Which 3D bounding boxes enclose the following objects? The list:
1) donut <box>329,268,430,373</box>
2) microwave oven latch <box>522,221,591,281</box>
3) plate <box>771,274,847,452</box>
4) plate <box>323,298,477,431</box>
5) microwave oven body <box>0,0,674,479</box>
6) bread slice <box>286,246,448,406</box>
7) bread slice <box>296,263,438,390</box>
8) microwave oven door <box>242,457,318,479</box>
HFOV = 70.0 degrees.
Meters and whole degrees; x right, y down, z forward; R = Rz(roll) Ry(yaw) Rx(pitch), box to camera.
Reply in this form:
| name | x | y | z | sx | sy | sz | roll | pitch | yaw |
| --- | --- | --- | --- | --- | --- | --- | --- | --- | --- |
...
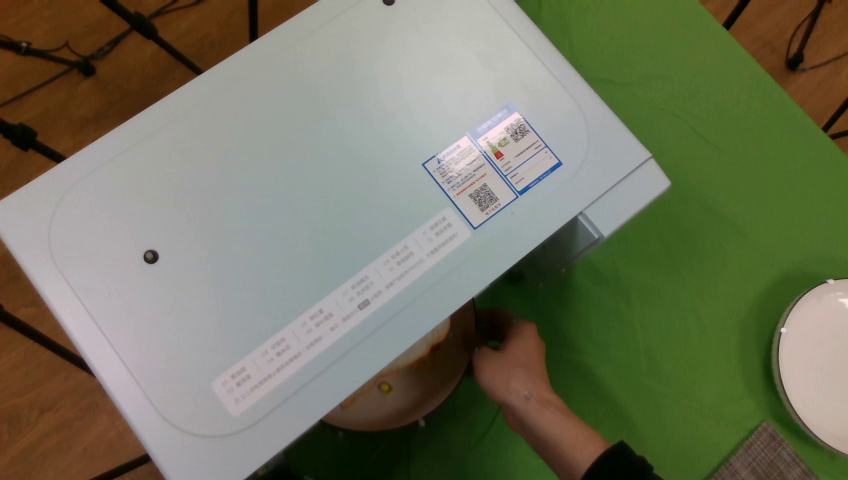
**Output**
| name | x | y | z | sx | sy | sz | roll | pitch | yaw |
| --- | --- | --- | --- | --- | --- | --- | --- | --- | --- |
| donut | -0.041 | 0.075 | 0.573 | 0.099 | 0.048 | 0.098 | 4 | 78 | -18 |
| microwave oven latch | 0.152 | 0.013 | 0.691 | 0.079 | 0.029 | 0.030 | -33 | 81 | -10 |
| plate | 0.502 | 0.144 | 0.708 | 0.208 | 0.039 | 0.206 | 1 | 77 | -4 |
| plate | -0.052 | 0.079 | 0.599 | 0.210 | 0.038 | 0.208 | 2 | 79 | -10 |
| microwave oven body | -0.073 | -0.019 | 0.582 | 0.441 | 0.261 | 0.325 | -37 | 82 | -11 |
| bread slice | -0.044 | 0.065 | 0.544 | 0.134 | 0.018 | 0.107 | -30 | 93 | -23 |
| bread slice | -0.058 | 0.090 | 0.603 | 0.132 | 0.019 | 0.104 | -19 | 83 | -22 |
| microwave oven door | 0.002 | 0.291 | 0.510 | 0.356 | 0.244 | 0.039 | 26 | 76 | 2 |
